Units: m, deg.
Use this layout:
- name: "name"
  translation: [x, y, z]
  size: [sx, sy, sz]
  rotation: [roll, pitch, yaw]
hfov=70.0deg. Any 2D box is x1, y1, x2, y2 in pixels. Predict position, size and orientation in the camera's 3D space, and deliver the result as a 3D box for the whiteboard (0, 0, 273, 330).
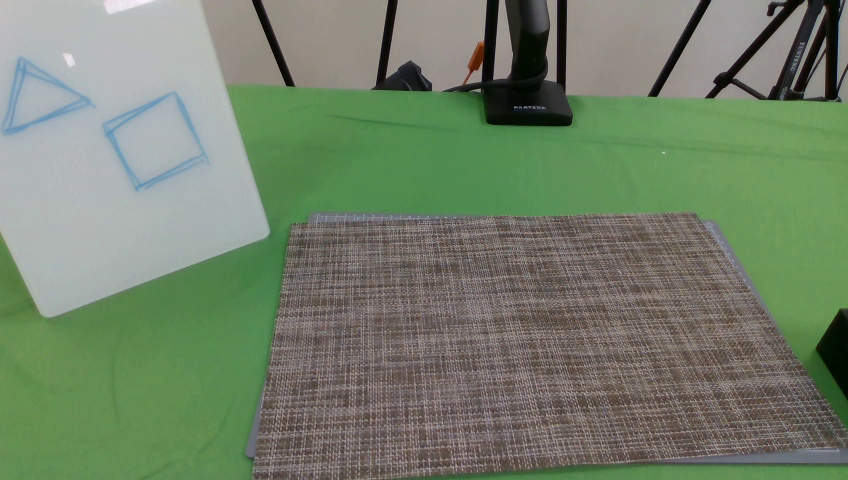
- name: "whiteboard"
  translation: [-0.309, -0.112, 0.578]
  size: [0.217, 0.307, 0.142]
  rotation: [-23, 26, -27]
